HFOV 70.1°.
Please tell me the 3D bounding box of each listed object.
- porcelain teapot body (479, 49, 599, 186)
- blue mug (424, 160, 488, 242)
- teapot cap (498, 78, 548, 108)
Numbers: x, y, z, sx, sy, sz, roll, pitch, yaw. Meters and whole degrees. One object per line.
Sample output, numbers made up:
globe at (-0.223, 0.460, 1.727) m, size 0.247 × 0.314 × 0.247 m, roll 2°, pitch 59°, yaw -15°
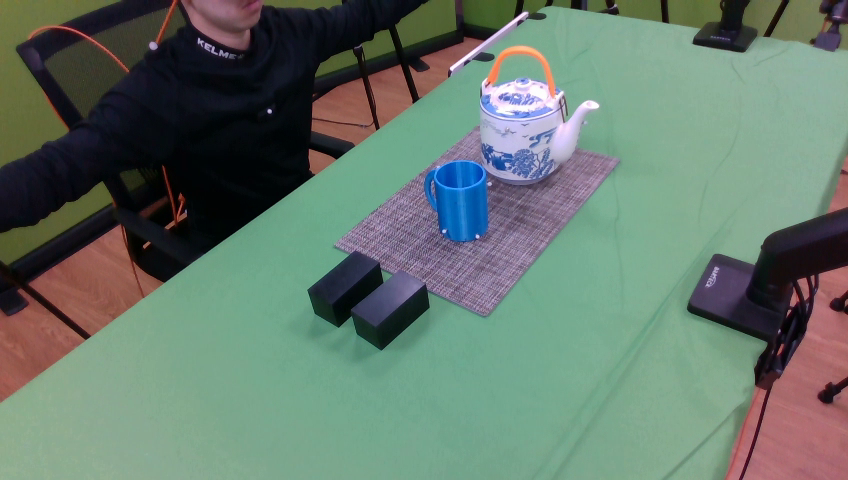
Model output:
porcelain teapot body at (0.192, -0.208, 1.023) m, size 0.204 × 0.226 × 0.145 m, roll 16°, pitch 46°, yaw 25°
blue mug at (0.047, -0.067, 0.970) m, size 0.115 × 0.106 × 0.082 m, roll 22°, pitch 49°, yaw 30°
teapot cap at (0.165, -0.246, 1.010) m, size 0.085 × 0.044 × 0.084 m, roll -4°, pitch 44°, yaw 5°
